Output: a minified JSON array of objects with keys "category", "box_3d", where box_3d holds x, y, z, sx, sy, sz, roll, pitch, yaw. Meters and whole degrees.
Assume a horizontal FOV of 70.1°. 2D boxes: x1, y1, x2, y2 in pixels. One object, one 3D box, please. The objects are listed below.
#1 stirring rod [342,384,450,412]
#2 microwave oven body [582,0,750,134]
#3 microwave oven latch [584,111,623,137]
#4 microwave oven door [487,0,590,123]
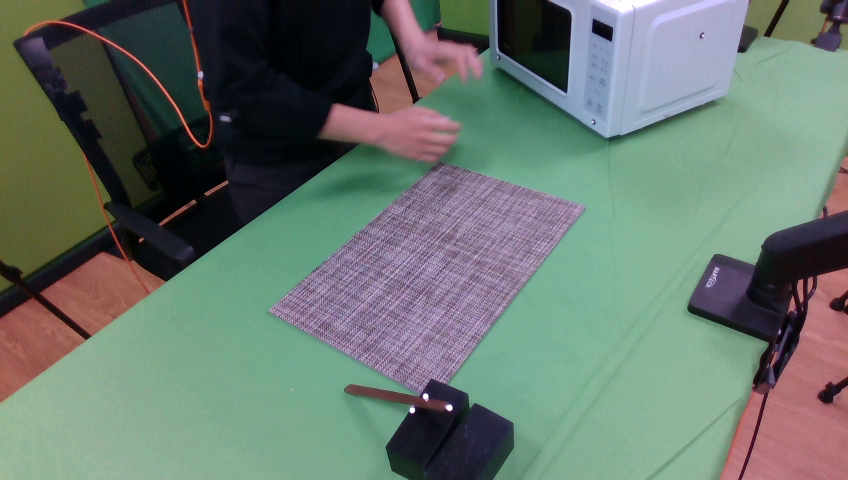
[{"category":"stirring rod","box_3d":[-0.038,0.186,0.714,0.175,0.006,0.014,-3,22,43]},{"category":"microwave oven body","box_3d":[0.382,-0.445,1.246,0.327,0.261,0.437,-22,42,-16]},{"category":"microwave oven latch","box_3d":[0.337,-0.222,1.142,0.030,0.029,0.078,-21,42,-14]},{"category":"microwave oven door","box_3d":[0.232,-0.420,1.231,0.039,0.245,0.352,-22,43,-16]}]
